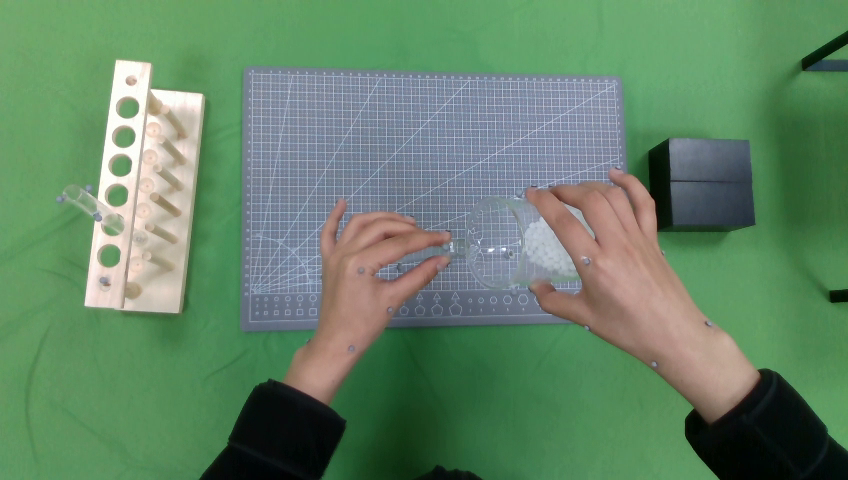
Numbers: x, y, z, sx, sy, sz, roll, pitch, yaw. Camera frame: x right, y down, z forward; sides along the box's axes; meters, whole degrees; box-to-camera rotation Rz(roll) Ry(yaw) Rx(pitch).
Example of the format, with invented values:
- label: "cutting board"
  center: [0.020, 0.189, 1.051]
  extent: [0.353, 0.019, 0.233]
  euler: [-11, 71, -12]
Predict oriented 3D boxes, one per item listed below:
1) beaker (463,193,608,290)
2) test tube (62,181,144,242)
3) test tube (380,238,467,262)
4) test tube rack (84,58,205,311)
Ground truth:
- label: "beaker"
  center: [0.092, 0.001, 0.497]
  extent: [0.101, 0.083, 0.074]
  euler: [-2, 85, -31]
- label: "test tube"
  center: [-0.295, -0.022, 0.568]
  extent: [0.017, 0.151, 0.017]
  euler: [1, 75, -4]
- label: "test tube"
  center: [-0.006, 0.011, 0.570]
  extent: [0.017, 0.150, 0.017]
  euler: [2, 85, -29]
- label: "test tube rack"
  center: [-0.282, -0.051, 0.623]
  extent: [0.067, 0.085, 0.241]
  euler: [4, 82, -6]
